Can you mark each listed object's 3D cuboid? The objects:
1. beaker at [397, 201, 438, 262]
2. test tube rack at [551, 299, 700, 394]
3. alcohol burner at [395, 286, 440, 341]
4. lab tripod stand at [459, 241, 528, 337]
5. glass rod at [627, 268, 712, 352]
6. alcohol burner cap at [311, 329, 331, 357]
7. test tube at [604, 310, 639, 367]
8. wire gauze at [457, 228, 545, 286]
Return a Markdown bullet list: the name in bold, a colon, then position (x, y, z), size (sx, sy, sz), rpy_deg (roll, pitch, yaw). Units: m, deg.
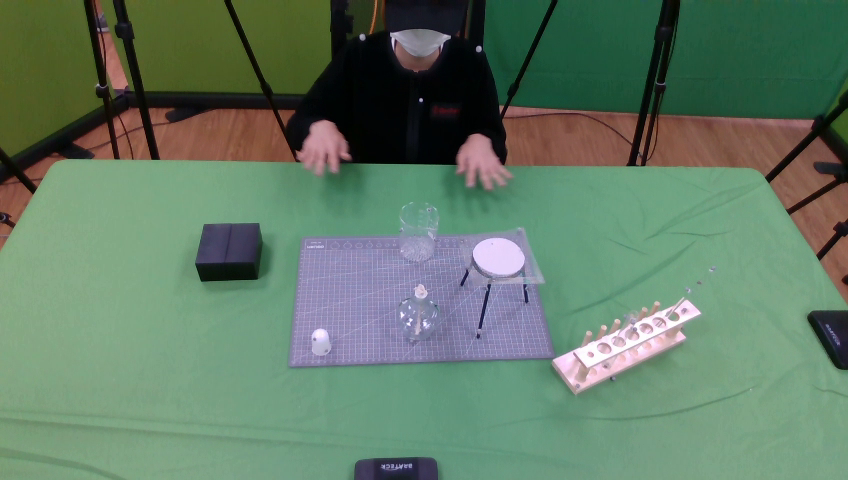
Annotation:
- **beaker**: position (-0.012, -0.011, 1.152), size (0.083, 0.101, 0.074), rpy_deg (35, 53, 25)
- **test tube rack**: position (0.339, 0.166, 1.021), size (0.242, 0.085, 0.066), rpy_deg (-19, 50, -21)
- **alcohol burner**: position (-0.010, 0.116, 1.018), size (0.078, 0.119, 0.077), rpy_deg (3, 47, -3)
- **lab tripod stand**: position (0.122, 0.075, 1.054), size (0.148, 0.132, 0.147), rpy_deg (3, 44, -3)
- **glass rod**: position (0.399, 0.117, 0.995), size (0.008, 0.200, 0.008), rpy_deg (26, 29, -15)
- **alcohol burner cap**: position (-0.173, 0.168, 1.005), size (0.034, 0.048, 0.033), rpy_deg (2, 46, -2)
- **test tube**: position (0.310, 0.158, 0.957), size (0.017, 0.151, 0.017), rpy_deg (1, 49, -1)
- **wire gauze**: position (0.126, 0.028, 1.006), size (0.125, 0.011, 0.120), rpy_deg (-4, 46, -9)
